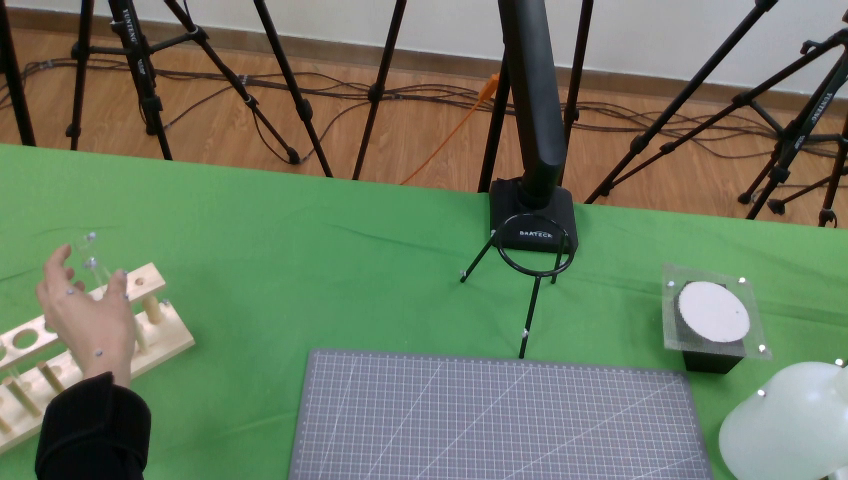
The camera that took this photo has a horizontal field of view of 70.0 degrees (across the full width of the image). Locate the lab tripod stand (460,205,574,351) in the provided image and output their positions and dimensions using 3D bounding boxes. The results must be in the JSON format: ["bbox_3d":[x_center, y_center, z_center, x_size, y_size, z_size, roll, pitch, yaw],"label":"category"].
[{"bbox_3d":[0.118,0.038,0.718,0.148,0.132,0.147,4,53,-5],"label":"lab tripod stand"}]

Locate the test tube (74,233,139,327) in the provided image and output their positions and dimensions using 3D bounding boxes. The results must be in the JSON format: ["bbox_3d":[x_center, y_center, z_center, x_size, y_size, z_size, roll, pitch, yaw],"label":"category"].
[{"bbox_3d":[-0.323,0.046,0.623,0.017,0.151,0.017,2,50,-2],"label":"test tube"}]

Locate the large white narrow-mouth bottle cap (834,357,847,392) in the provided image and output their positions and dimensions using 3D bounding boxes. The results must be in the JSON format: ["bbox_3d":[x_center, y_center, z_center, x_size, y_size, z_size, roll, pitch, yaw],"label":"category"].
[{"bbox_3d":[0.389,0.119,0.540,0.038,0.024,0.037,3,52,-4],"label":"large white narrow-mouth bottle cap"}]

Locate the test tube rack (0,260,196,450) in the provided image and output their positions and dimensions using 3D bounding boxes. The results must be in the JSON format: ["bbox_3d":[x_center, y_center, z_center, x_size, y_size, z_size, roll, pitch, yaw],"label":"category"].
[{"bbox_3d":[-0.371,0.123,0.621,0.242,0.086,0.066,-30,62,-27],"label":"test tube rack"}]

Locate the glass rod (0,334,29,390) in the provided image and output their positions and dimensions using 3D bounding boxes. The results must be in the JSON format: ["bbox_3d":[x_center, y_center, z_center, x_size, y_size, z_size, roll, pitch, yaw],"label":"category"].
[{"bbox_3d":[-0.399,0.086,0.563,0.008,0.201,0.008,7,43,-6],"label":"glass rod"}]

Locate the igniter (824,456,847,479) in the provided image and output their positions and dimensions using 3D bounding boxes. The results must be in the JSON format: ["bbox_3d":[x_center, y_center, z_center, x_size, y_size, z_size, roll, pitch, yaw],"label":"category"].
[{"bbox_3d":[0.443,0.319,0.608,0.057,0.025,0.274,16,51,-8],"label":"igniter"}]

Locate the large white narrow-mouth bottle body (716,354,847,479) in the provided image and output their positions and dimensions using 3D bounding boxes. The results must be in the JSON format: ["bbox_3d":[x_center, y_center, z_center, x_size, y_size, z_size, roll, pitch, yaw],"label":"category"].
[{"bbox_3d":[0.381,0.173,0.606,0.102,0.196,0.101,3,52,-4],"label":"large white narrow-mouth bottle body"}]

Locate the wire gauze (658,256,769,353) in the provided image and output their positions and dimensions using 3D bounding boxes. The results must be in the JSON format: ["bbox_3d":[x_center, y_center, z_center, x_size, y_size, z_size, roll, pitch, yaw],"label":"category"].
[{"bbox_3d":[0.344,0.078,0.732,0.121,0.011,0.124,10,52,1],"label":"wire gauze"}]
